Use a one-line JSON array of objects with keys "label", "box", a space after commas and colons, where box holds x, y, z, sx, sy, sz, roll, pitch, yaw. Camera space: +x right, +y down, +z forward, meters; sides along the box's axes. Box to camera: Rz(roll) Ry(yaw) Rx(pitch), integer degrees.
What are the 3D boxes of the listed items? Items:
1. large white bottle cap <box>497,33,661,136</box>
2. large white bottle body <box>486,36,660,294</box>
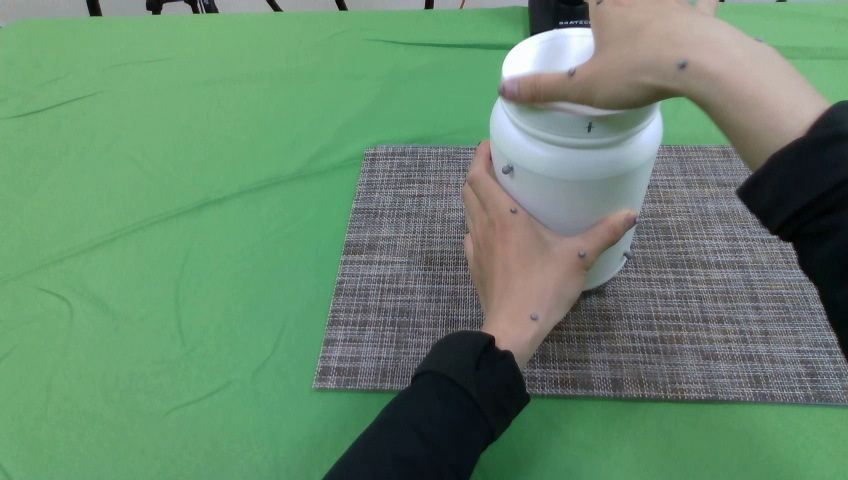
[{"label": "large white bottle cap", "box": [0.110, -0.115, 0.438, 0.115, 0.018, 0.113, -2, 47, 3]}, {"label": "large white bottle body", "box": [0.117, -0.058, 0.500, 0.130, 0.186, 0.129, -2, 48, 3]}]
